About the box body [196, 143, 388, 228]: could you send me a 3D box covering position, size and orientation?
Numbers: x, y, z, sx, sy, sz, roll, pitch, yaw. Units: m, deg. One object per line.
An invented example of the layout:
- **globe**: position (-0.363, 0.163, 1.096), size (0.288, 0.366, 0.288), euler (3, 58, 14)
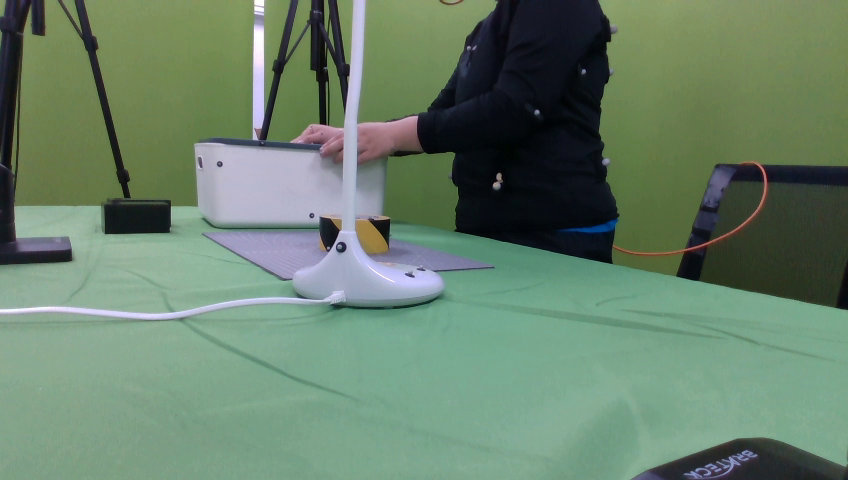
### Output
- **box body**: position (-0.286, -0.118, 1.291), size (0.366, 0.160, 0.253), euler (-1, 8, -27)

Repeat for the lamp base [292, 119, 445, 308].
- **lamp base**: position (-0.056, -0.030, 0.616), size (0.160, 0.180, 0.179), euler (4, 10, 8)

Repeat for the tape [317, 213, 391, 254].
- **tape**: position (-0.109, -0.012, 0.938), size (0.117, 0.052, 0.117), euler (2, 7, 0)

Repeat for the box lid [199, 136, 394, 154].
- **box lid**: position (-0.275, -0.198, 1.284), size (0.373, 0.015, 0.262), euler (0, 7, -26)
